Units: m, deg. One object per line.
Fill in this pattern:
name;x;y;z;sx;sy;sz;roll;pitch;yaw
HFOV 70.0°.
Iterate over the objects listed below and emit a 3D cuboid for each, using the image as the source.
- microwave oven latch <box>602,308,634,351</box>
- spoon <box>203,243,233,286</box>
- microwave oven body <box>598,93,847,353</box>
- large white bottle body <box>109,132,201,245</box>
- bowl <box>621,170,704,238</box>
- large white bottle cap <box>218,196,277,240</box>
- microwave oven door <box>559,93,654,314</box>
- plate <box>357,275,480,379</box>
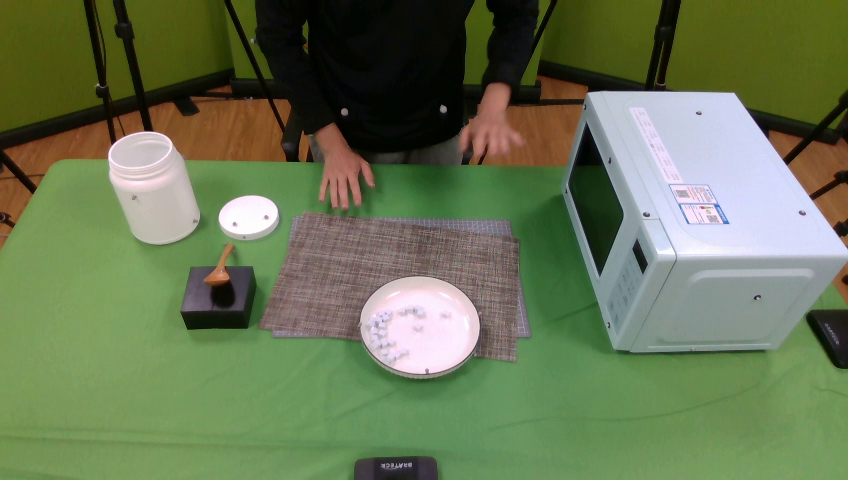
microwave oven latch;0.332;0.153;1.044;0.030;0.029;0.078;-1;45;-4
spoon;-0.360;0.039;1.087;0.041;0.022;0.192;-5;24;-7
microwave oven body;0.475;-0.041;1.109;0.326;0.261;0.438;-1;45;-4
large white bottle body;-0.506;-0.097;1.141;0.131;0.185;0.130;2;46;-2
bowl;0.446;-0.057;1.166;0.151;0.077;0.150;2;46;-2
large white bottle cap;-0.354;-0.045;1.220;0.115;0.018;0.114;2;45;-2
microwave oven door;0.327;-0.074;1.123;0.039;0.245;0.353;-1;46;-5
plate;-0.009;0.151;1.038;0.209;0.038;0.208;2;47;-2
